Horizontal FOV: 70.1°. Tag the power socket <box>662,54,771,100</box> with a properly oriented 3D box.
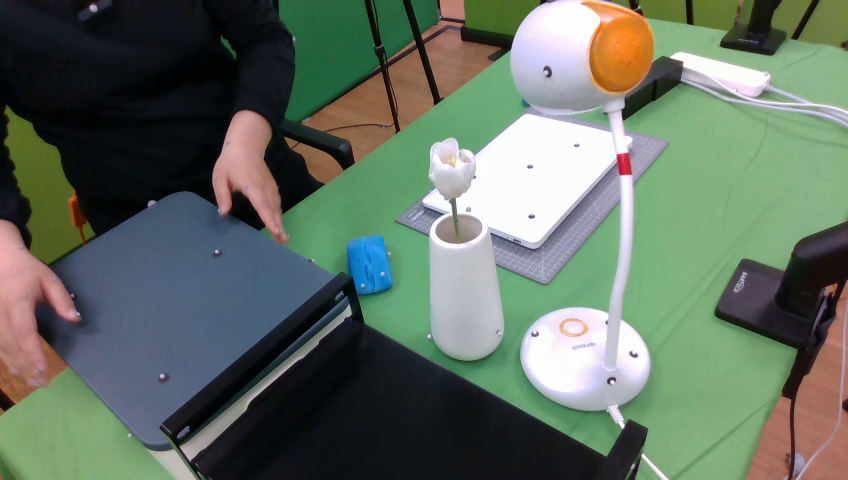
[{"bbox_3d":[0.615,-0.348,1.284,0.072,0.033,0.225,-36,48,-29],"label":"power socket"}]

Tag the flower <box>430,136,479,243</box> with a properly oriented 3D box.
[{"bbox_3d":[0.041,0.011,0.691,0.044,0.363,0.038,16,62,14],"label":"flower"}]

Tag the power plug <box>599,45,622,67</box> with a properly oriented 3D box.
[{"bbox_3d":[0.437,-0.422,1.412,0.053,0.035,0.072,-19,74,-47],"label":"power plug"}]

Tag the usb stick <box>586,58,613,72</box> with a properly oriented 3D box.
[{"bbox_3d":[0.401,-0.399,1.380,0.059,0.027,0.021,1,48,20],"label":"usb stick"}]

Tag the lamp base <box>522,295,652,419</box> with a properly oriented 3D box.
[{"bbox_3d":[0.201,0.095,0.710,0.161,0.181,0.177,-16,43,-10],"label":"lamp base"}]

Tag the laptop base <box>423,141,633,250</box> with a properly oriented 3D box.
[{"bbox_3d":[0.193,-0.117,1.087,0.233,0.023,0.355,21,48,34],"label":"laptop base"}]

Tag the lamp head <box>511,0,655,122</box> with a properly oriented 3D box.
[{"bbox_3d":[0.155,-0.168,0.564,0.113,0.113,0.122,-18,23,-12],"label":"lamp head"}]

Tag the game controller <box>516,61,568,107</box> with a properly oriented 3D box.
[{"bbox_3d":[0.259,-0.352,1.336,0.097,0.052,0.154,-3,41,2],"label":"game controller"}]

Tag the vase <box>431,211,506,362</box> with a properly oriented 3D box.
[{"bbox_3d":[0.054,0.062,0.757,0.098,0.201,0.097,-3,40,3],"label":"vase"}]

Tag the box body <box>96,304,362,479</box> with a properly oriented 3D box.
[{"bbox_3d":[-0.286,0.123,0.766,0.361,0.161,0.255,25,49,33],"label":"box body"}]

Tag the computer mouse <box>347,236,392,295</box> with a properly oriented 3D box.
[{"bbox_3d":[-0.086,0.035,0.936,0.063,0.041,0.116,-8,44,-5],"label":"computer mouse"}]

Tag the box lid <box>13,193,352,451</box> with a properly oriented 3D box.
[{"bbox_3d":[-0.291,0.066,0.717,0.368,0.015,0.264,25,50,33],"label":"box lid"}]

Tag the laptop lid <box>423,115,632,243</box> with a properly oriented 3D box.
[{"bbox_3d":[0.190,-0.126,1.081,0.239,0.013,0.358,23,48,34],"label":"laptop lid"}]
